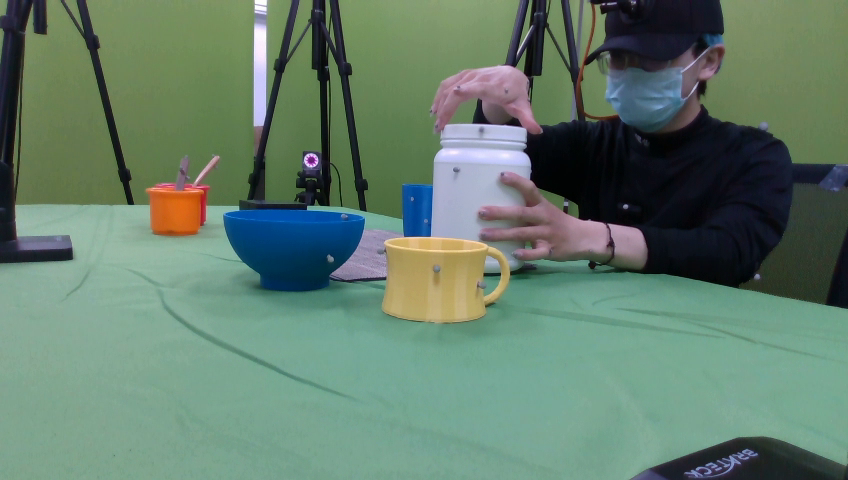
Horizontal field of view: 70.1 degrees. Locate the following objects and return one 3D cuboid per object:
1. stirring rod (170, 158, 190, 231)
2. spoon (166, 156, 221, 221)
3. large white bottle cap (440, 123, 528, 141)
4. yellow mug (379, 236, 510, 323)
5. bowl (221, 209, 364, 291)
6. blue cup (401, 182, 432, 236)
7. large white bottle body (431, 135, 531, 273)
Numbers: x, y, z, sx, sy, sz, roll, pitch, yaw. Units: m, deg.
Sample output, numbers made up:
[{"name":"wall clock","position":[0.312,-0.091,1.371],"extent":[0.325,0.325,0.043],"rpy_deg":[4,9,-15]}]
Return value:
[{"name":"stirring rod","position":[-0.426,-0.082,1.060],"extent":[0.014,0.006,0.175],"rpy_deg":[1,50,-13]},{"name":"spoon","position":[-0.447,-0.104,1.192],"extent":[0.041,0.022,0.193],"rpy_deg":[7,52,14]},{"name":"large white bottle cap","position":[0.079,-0.140,0.796],"extent":[0.115,0.018,0.115],"rpy_deg":[3,7,0]},{"name":"yellow mug","position":[0.024,0.034,0.575],"extent":[0.131,0.064,0.099],"rpy_deg":[1,7,-22]},{"name":"bowl","position":[-0.142,0.011,0.660],"extent":[0.151,0.077,0.151],"rpy_deg":[2,7,0]},{"name":"blue cup","position":[0.002,-0.038,0.966],"extent":[0.093,0.100,0.092],"rpy_deg":[4,9,0]},{"name":"large white bottle body","position":[0.075,-0.057,0.807],"extent":[0.131,0.184,0.130],"rpy_deg":[2,7,0]}]
